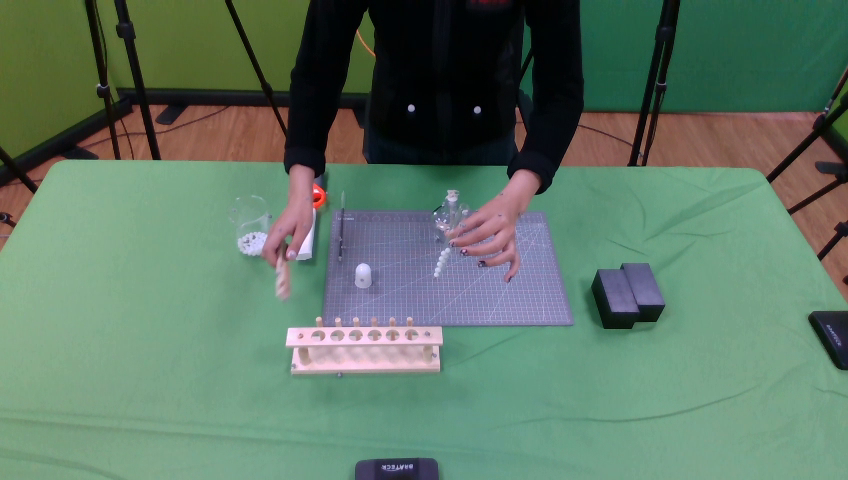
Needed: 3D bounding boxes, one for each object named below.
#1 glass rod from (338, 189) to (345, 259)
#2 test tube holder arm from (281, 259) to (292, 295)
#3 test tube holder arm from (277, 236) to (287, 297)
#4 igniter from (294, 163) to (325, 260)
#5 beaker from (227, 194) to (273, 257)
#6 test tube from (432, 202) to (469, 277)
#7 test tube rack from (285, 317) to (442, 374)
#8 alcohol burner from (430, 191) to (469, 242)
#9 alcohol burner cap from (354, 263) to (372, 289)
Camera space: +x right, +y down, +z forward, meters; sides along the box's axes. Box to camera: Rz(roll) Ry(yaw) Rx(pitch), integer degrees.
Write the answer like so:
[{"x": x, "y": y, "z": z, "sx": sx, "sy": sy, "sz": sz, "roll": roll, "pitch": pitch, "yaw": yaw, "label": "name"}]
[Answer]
[{"x": -0.166, "y": -0.037, "z": 1.226, "sx": 0.008, "sy": 0.008, "sz": 0.198, "roll": 0, "pitch": 47, "yaw": -4, "label": "glass rod"}, {"x": -0.215, "y": 0.057, "z": 0.947, "sx": 0.010, "sy": 0.015, "sz": 0.087, "roll": -28, "pitch": 31, "yaw": 0, "label": "test tube holder arm"}, {"x": -0.231, "y": 0.039, "z": 0.986, "sx": 0.013, "sy": 0.015, "sz": 0.177, "roll": -28, "pitch": 31, "yaw": 0, "label": "test tube holder arm"}, {"x": -0.234, "y": -0.067, "z": 1.243, "sx": 0.057, "sy": 0.025, "sz": 0.274, "roll": -6, "pitch": 46, "yaw": 4, "label": "igniter"}, {"x": -0.326, "y": -0.022, "z": 1.142, "sx": 0.074, "sy": 0.101, "sz": 0.083, "roll": 10, "pitch": 47, "yaw": 6, "label": "beaker"}, {"x": 0.038, "y": 0.003, "z": 0.911, "sx": 0.017, "sy": 0.151, "sz": 0.017, "roll": 11, "pitch": 42, "yaw": -10, "label": "test tube"}, {"x": -0.095, "y": 0.166, "z": 0.988, "sx": 0.242, "sy": 0.085, "sz": 0.066, "roll": 0, "pitch": 46, "yaw": -4, "label": "test tube rack"}, {"x": 0.052, "y": -0.053, "z": 1.185, "sx": 0.078, "sy": 0.119, "sz": 0.077, "roll": 2, "pitch": 48, "yaw": -2, "label": "alcohol burner"}, {"x": -0.113, "y": 0.063, "z": 1.112, "sx": 0.034, "sy": 0.048, "sz": 0.033, "roll": 1, "pitch": 46, "yaw": -1, "label": "alcohol burner cap"}]
